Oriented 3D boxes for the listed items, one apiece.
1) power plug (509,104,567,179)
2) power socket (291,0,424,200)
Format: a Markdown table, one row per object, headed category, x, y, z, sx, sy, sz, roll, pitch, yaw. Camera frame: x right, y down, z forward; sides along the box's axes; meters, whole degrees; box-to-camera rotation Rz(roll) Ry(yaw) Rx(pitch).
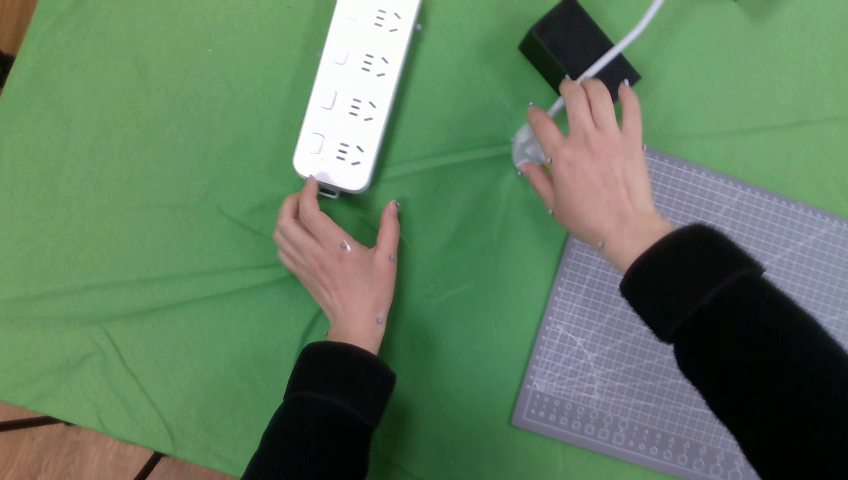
| category | x | y | z | sx | sy | sz | roll | pitch | yaw |
| --- | --- | --- | --- | --- | --- | --- | --- | --- | --- |
| power plug | 0.113 | -0.085 | 0.566 | 0.072 | 0.053 | 0.035 | -26 | 48 | 29 |
| power socket | -0.060 | -0.148 | 0.561 | 0.072 | 0.032 | 0.226 | 17 | 88 | -6 |
